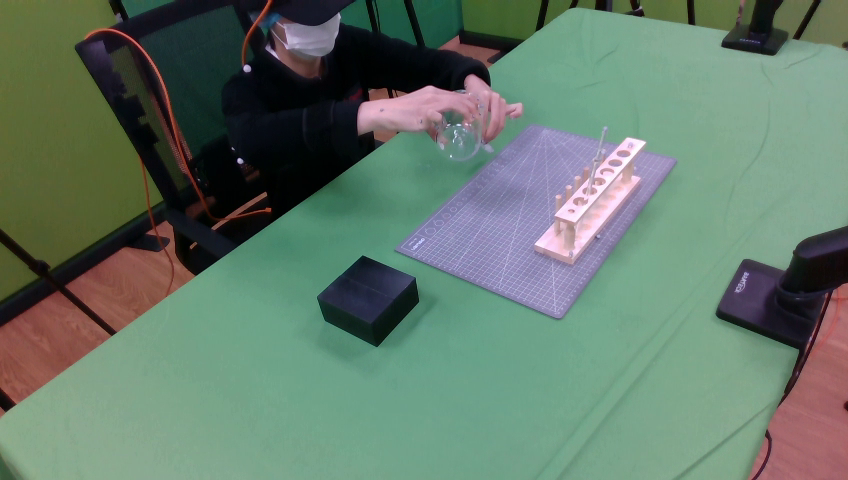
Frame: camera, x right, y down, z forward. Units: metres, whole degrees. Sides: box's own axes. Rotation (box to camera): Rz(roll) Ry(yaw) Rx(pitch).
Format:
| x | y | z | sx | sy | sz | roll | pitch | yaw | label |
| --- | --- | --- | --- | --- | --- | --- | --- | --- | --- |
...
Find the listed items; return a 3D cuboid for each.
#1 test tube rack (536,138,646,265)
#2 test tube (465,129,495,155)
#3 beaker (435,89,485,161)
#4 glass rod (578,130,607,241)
| x | y | z | sx | sy | sz | roll | pitch | yaw | label |
| --- | --- | --- | --- | --- | --- | --- | --- | --- | --- |
| 0.268 | -0.071 | 0.964 | 0.066 | 0.085 | 0.243 | 23 | 49 | 32 | test tube rack |
| 0.101 | -0.172 | 1.072 | 0.017 | 0.017 | 0.151 | 10 | 0 | 21 | test tube |
| 0.057 | -0.175 | 0.945 | 0.074 | 0.084 | 0.100 | -11 | 39 | 18 | beaker |
| 0.240 | -0.071 | 0.866 | 0.008 | 0.200 | 0.008 | 0 | 44 | 1 | glass rod |
